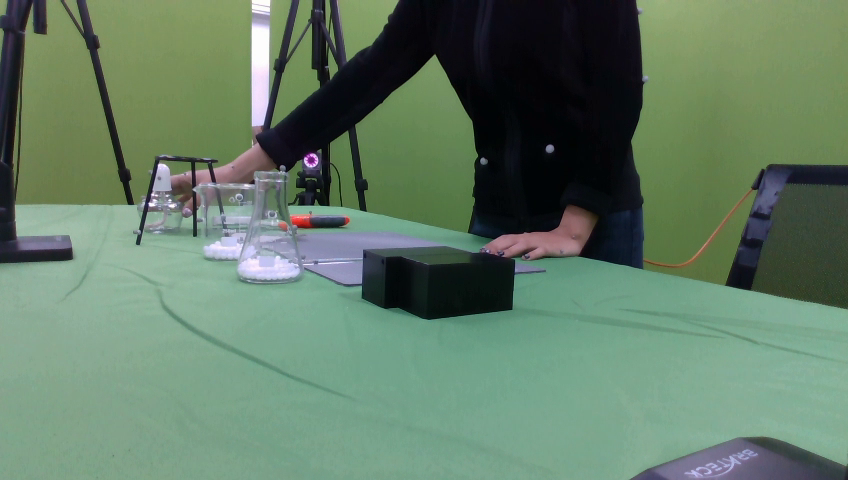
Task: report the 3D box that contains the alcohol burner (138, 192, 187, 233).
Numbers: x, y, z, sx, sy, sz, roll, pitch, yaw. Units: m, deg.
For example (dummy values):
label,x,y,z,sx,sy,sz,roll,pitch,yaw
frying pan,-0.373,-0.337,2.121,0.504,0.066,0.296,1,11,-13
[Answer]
label,x,y,z,sx,sy,sz,roll,pitch,yaw
alcohol burner,-0.450,-0.070,1.043,0.078,0.119,0.078,4,8,0

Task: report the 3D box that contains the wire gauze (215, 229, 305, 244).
label,x,y,z,sx,sy,sz,roll,pitch,yaw
wire gauze,-0.273,-0.009,1.012,0.122,0.011,0.124,-2,9,-33

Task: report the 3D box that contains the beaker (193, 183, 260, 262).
label,x,y,z,sx,sy,sz,roll,pitch,yaw
beaker,-0.262,-0.024,0.806,0.084,0.100,0.073,-3,8,-30

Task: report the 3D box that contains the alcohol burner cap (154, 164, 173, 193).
label,x,y,z,sx,sy,sz,roll,pitch,yaw
alcohol burner cap,-0.449,-0.106,1.037,0.034,0.048,0.034,2,13,0

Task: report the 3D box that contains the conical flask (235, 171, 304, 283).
label,x,y,z,sx,sy,sz,roll,pitch,yaw
conical flask,-0.172,-0.016,0.677,0.075,0.122,0.075,2,7,0

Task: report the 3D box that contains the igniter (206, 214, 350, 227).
label,x,y,z,sx,sy,sz,roll,pitch,yaw
igniter,-0.279,-0.038,1.185,0.278,0.025,0.057,-2,-1,-30

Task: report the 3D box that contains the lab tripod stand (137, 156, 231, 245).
label,x,y,z,sx,sy,sz,roll,pitch,yaw
lab tripod stand,-0.358,-0.061,0.927,0.148,0.131,0.148,4,6,0

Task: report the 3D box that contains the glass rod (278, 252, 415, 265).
label,x,y,z,sx,sy,sz,roll,pitch,yaw
glass rod,-0.097,0.024,0.805,0.201,0.008,0.008,-3,8,-33
